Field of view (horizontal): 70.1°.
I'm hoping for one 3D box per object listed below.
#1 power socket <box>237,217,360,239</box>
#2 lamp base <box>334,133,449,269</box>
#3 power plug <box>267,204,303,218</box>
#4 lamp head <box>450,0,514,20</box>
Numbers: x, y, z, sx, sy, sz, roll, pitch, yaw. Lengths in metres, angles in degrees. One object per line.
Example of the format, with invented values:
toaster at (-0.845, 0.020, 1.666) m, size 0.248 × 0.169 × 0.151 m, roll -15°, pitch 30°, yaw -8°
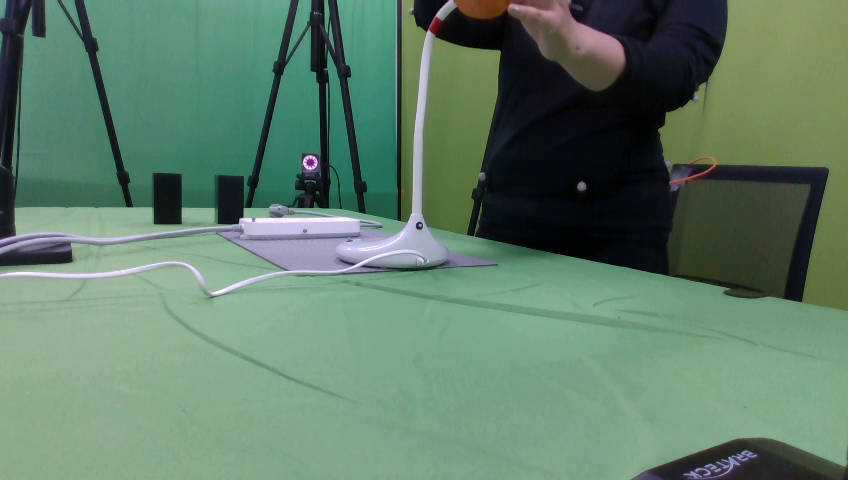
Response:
power socket at (-0.220, -0.023, 1.080) m, size 0.228 × 0.032 × 0.072 m, roll -2°, pitch 8°, yaw -33°
lamp base at (-0.033, -0.057, 0.831) m, size 0.161 × 0.180 × 0.178 m, roll -3°, pitch 12°, yaw -36°
power plug at (-0.327, -0.060, 1.404) m, size 0.073 × 0.035 × 0.052 m, roll 22°, pitch -14°, yaw -26°
lamp head at (0.067, -0.320, 0.699) m, size 0.112 × 0.122 × 0.112 m, roll 7°, pitch -3°, yaw 1°
